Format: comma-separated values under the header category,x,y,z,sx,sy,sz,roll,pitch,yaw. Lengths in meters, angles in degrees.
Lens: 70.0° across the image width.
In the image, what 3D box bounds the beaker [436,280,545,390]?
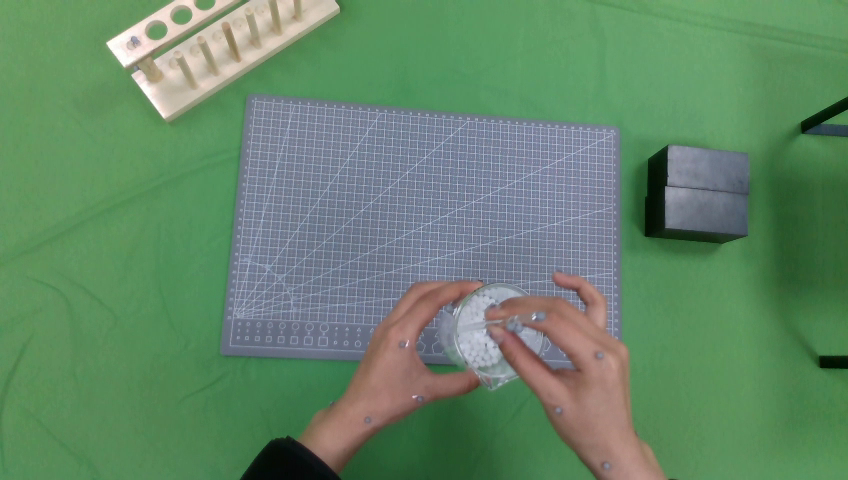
category,x,y,z,sx,sy,sz,roll,pitch,yaw
beaker,0.050,0.080,0.508,0.074,0.100,0.083,10,80,-6

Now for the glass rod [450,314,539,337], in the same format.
category,x,y,z,sx,sy,sz,roll,pitch,yaw
glass rod,0.045,0.066,0.450,0.008,0.200,0.008,2,78,-11

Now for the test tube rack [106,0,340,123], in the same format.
category,x,y,z,sx,sy,sz,roll,pitch,yaw
test tube rack,-0.212,-0.238,0.675,0.242,0.085,0.066,-37,85,-11
